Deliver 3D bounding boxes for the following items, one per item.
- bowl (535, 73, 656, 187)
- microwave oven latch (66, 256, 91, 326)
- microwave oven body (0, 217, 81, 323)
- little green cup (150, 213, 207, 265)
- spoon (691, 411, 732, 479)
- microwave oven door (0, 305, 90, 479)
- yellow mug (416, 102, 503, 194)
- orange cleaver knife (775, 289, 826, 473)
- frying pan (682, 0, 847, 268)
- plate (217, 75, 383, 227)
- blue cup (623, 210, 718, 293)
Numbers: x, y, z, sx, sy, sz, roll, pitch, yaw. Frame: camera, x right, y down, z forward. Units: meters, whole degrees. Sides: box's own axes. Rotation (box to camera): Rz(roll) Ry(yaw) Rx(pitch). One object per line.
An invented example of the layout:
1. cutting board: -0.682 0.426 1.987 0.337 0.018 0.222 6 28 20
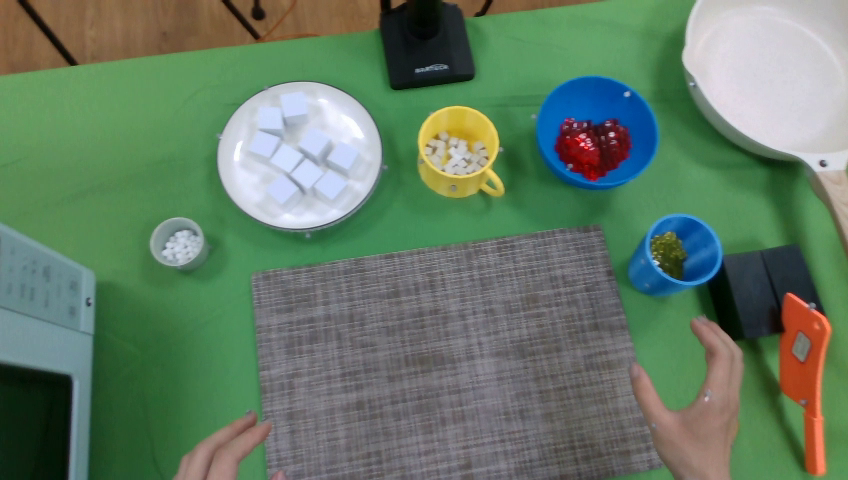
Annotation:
1. bowl: 0.210 -0.128 0.779 0.151 0.077 0.150 1 74 -2
2. microwave oven latch: -0.406 0.060 0.701 0.030 0.029 0.078 -1 74 -3
3. microwave oven body: -0.533 0.213 0.551 0.326 0.261 0.439 -5 74 -4
4. little green cup: -0.297 0.002 0.740 0.061 0.039 0.061 1 75 -2
5. spoon: 0.309 0.278 0.693 0.041 0.022 0.193 32 75 20
6. microwave oven door: -0.383 0.240 0.544 0.039 0.245 0.353 -5 74 -3
7. yellow mug: 0.052 -0.106 0.773 0.130 0.064 0.100 43 77 9
8. orange cleaver knife: 0.432 0.163 0.701 0.012 0.077 0.212 -9 103 -4
9. frying pan: 0.494 -0.142 0.780 0.307 0.103 0.484 -3 66 -2
10. plate: -0.156 -0.113 0.781 0.208 0.039 0.206 1 74 -2
11. blue cup: 0.285 0.022 0.726 0.093 0.101 0.092 1 72 -3
